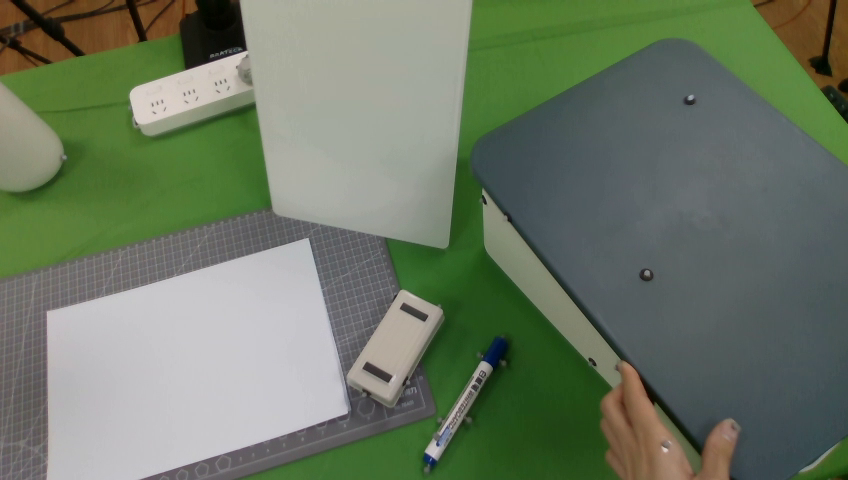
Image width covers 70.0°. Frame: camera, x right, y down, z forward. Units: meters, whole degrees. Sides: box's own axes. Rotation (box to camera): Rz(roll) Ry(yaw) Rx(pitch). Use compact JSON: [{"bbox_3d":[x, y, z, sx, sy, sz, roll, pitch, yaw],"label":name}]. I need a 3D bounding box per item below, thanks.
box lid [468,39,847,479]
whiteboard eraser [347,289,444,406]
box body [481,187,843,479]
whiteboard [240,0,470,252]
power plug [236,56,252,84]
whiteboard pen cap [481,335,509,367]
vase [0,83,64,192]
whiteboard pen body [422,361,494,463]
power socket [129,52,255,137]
[{"bbox_3d":[0.231,-0.018,0.508,0.263,0.015,0.367,-30,61,-10],"label":"box lid"},{"bbox_3d":[-0.029,0.109,0.625,0.055,0.042,0.112,25,66,16],"label":"whiteboard eraser"},{"bbox_3d":[0.254,0.019,0.596,0.254,0.161,0.361,-35,66,-16],"label":"box body"},{"bbox_3d":[-0.054,-0.164,0.660,0.217,0.308,0.143,12,42,9],"label":"whiteboard"},{"bbox_3d":[-0.223,-0.205,0.783,0.035,0.053,0.072,-11,68,-4],"label":"power plug"},{"bbox_3d":[0.074,0.117,0.635,0.018,0.018,0.033,28,69,17],"label":"whiteboard pen cap"},{"bbox_3d":[-0.508,-0.140,0.691,0.098,0.201,0.097,-2,62,3],"label":"vase"},{"bbox_3d":[0.042,0.162,0.613,0.017,0.017,0.140,30,67,18],"label":"whiteboard pen body"},{"bbox_3d":[-0.281,-0.200,0.808,0.227,0.033,0.071,-20,64,-9],"label":"power socket"}]
